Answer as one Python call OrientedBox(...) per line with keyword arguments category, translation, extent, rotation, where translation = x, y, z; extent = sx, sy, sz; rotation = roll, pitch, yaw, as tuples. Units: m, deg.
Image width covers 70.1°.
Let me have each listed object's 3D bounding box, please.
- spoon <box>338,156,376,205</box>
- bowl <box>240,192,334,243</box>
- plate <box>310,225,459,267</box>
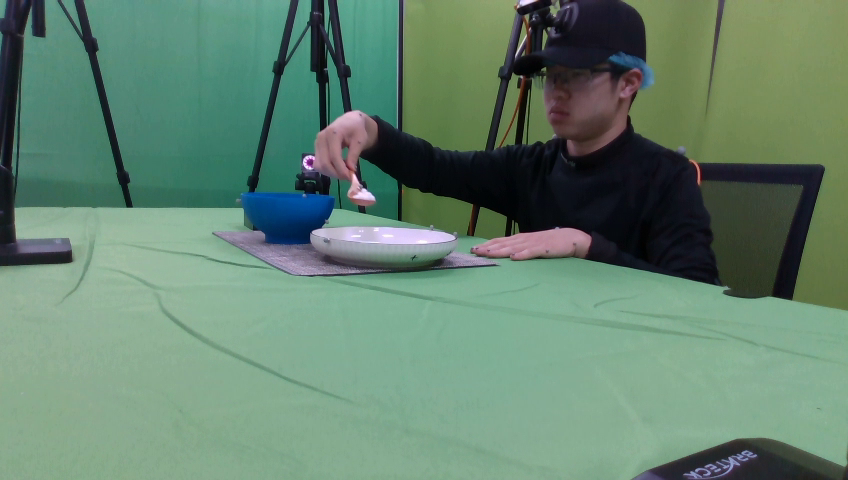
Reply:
OrientedBox(category="spoon", translation=(-0.111, -0.097, 0.950), extent=(0.042, 0.021, 0.193), rotation=(2, 30, -20))
OrientedBox(category="bowl", translation=(-0.224, -0.037, 0.992), extent=(0.151, 0.077, 0.151), rotation=(2, 7, 0))
OrientedBox(category="plate", translation=(-0.055, 0.008, 0.851), extent=(0.208, 0.039, 0.207), rotation=(2, 7, 0))
